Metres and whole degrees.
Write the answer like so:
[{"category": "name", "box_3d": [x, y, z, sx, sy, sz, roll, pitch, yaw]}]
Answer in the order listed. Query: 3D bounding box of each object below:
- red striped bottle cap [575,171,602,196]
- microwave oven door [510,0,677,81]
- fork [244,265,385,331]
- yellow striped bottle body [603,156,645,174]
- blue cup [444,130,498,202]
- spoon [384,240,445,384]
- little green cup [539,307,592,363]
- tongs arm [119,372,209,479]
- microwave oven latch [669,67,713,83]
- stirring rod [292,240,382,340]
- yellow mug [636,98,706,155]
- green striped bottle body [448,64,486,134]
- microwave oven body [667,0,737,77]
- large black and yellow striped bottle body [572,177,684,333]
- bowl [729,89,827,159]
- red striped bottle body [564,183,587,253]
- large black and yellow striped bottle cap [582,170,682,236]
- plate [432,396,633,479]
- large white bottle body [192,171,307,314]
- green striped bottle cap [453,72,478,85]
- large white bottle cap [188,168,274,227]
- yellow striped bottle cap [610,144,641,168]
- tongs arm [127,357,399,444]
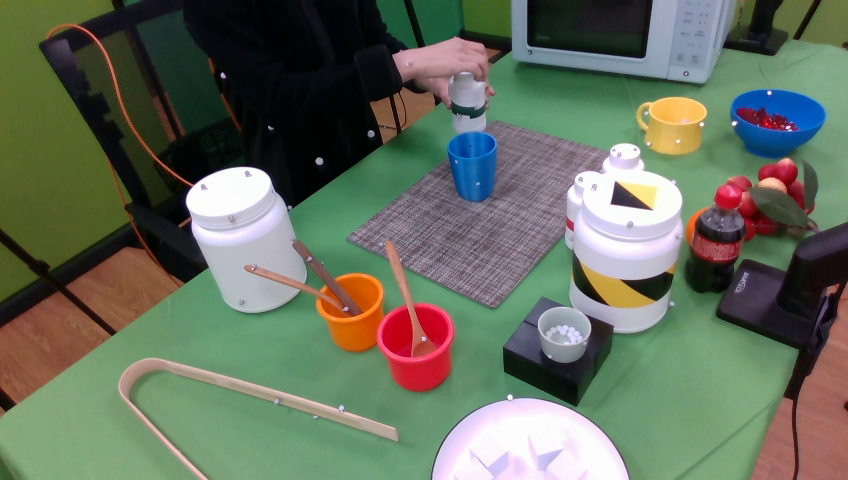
[{"category": "red striped bottle cap", "box_3d": [0.242, -0.081, 0.876, 0.044, 0.018, 0.044, -5, 43, 5]}, {"category": "microwave oven door", "box_3d": [0.354, -0.478, 1.290, 0.353, 0.245, 0.039, 15, 45, 25]}, {"category": "fork", "box_3d": [-0.142, 0.078, 0.806, 0.209, 0.018, 0.028, 30, 32, -24]}, {"category": "yellow striped bottle body", "box_3d": [0.313, -0.089, 0.956, 0.063, 0.121, 0.062, -5, 39, 4]}, {"category": "blue cup", "box_3d": [0.086, -0.123, 1.040, 0.092, 0.100, 0.092, -5, 42, 5]}, {"category": "spoon", "box_3d": [-0.016, 0.090, 0.776, 0.042, 0.021, 0.193, -17, 85, -10]}, {"category": "little green cup", "box_3d": [0.168, 0.115, 0.721, 0.061, 0.039, 0.061, -4, 42, 4]}, {"category": "tongs arm", "box_3d": [-0.258, 0.257, 0.700, 0.384, 0.028, 0.028, 24, 55, 34]}, {"category": "microwave oven latch", "box_3d": [0.556, -0.349, 1.261, 0.078, 0.029, 0.030, 16, 46, 27]}, {"category": "stirring rod", "box_3d": [-0.119, 0.068, 0.825, 0.176, 0.006, 0.014, 49, 58, -4]}, {"category": "yellow mug", "box_3d": [0.453, -0.217, 1.129, 0.100, 0.064, 0.129, -34, 46, -27]}, {"category": "green striped bottle body", "box_3d": [0.076, -0.250, 1.076, 0.063, 0.120, 0.063, -4, 46, 5]}, {"category": "microwave oven body", "box_3d": [0.462, -0.552, 1.369, 0.439, 0.261, 0.326, 15, 45, 26]}, {"category": "large black and yellow striped bottle body", "box_3d": [0.262, 0.017, 0.788, 0.131, 0.185, 0.130, -5, 40, 4]}, {"category": "bowl", "box_3d": [0.615, -0.197, 1.069, 0.151, 0.077, 0.150, -5, 40, 5]}, {"category": "red striped bottle body", "box_3d": [0.246, -0.041, 0.910, 0.063, 0.120, 0.062, -2, 38, 2]}, {"category": "large black and yellow striped bottle cap", "box_3d": [0.252, -0.048, 0.735, 0.115, 0.019, 0.114, -3, 40, 3]}, {"category": "plate", "box_3d": [0.112, 0.261, 0.634, 0.209, 0.038, 0.208, -5, 40, 4]}, {"category": "large white bottle body", "box_3d": [-0.256, 0.003, 0.885, 0.130, 0.185, 0.130, -4, 40, 4]}, {"category": "green striped bottle cap", "box_3d": [0.071, -0.276, 1.036, 0.044, 0.020, 0.044, 3, 13, 0]}, {"category": "large white bottle cap", "box_3d": [-0.264, -0.061, 0.831, 0.115, 0.018, 0.114, -4, 40, 4]}, {"category": "yellow striped bottle cap", "box_3d": [0.307, -0.128, 0.923, 0.044, 0.019, 0.044, -6, 40, 5]}, {"category": "tongs arm", "box_3d": [-0.213, 0.205, 0.755, 0.382, 0.026, 0.051, 12, 46, 23]}]
